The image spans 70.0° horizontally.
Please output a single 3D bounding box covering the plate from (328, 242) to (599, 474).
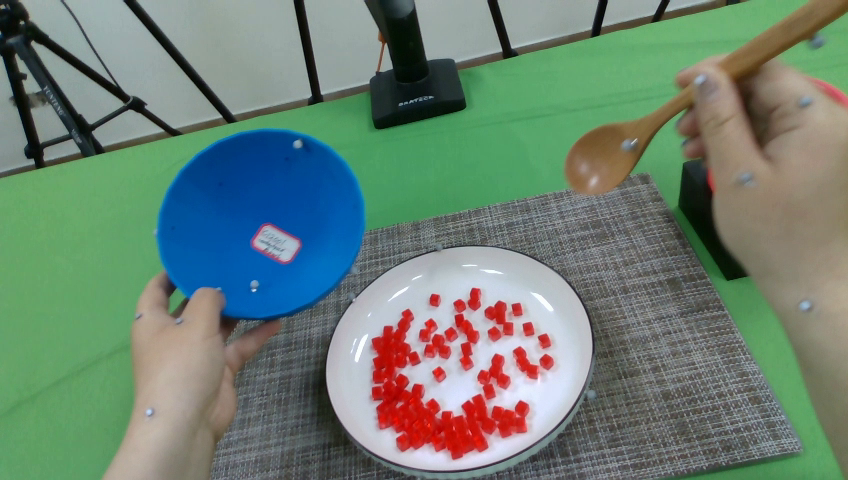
[{"bbox_3d":[0.030,0.087,0.476,0.207,0.039,0.205,-8,44,8],"label":"plate"}]

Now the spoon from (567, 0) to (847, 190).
[{"bbox_3d":[0.136,-0.072,0.312,0.022,0.194,0.041,-8,77,-22],"label":"spoon"}]

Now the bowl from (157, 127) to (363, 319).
[{"bbox_3d":[-0.119,-0.004,0.477,0.151,0.077,0.150,0,70,0],"label":"bowl"}]
